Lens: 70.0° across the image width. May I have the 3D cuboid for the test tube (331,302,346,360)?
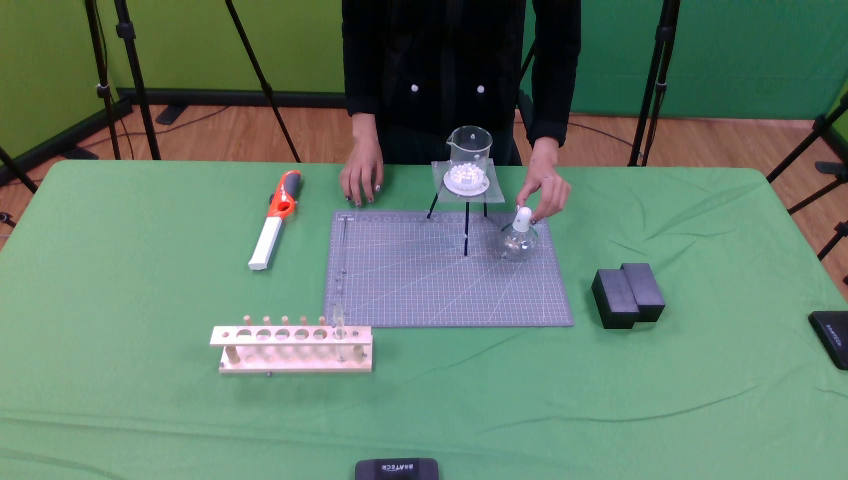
[{"bbox_3d":[-0.132,0.144,0.938,0.017,0.151,0.017,2,49,-3],"label":"test tube"}]

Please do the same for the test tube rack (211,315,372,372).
[{"bbox_3d":[-0.208,0.163,0.982,0.242,0.085,0.066,1,46,-4],"label":"test tube rack"}]

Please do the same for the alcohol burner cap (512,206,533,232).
[{"bbox_3d":[0.186,-0.042,1.134,0.034,0.048,0.033,7,42,-6],"label":"alcohol burner cap"}]

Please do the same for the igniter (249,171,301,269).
[{"bbox_3d":[-0.297,-0.049,1.220,0.057,0.025,0.275,-1,45,9],"label":"igniter"}]

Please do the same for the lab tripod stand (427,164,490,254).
[{"bbox_3d":[0.078,-0.068,1.188,0.148,0.132,0.147,3,47,-3],"label":"lab tripod stand"}]

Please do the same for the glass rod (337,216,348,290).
[{"bbox_3d":[-0.158,0.021,1.171,0.008,0.008,0.198,1,43,-2],"label":"glass rod"}]

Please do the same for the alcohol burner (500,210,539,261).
[{"bbox_3d":[0.185,-0.016,1.160,0.078,0.120,0.077,2,48,-2],"label":"alcohol burner"}]

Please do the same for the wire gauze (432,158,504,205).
[{"bbox_3d":[0.081,-0.111,1.138,0.125,0.011,0.120,0,48,-7],"label":"wire gauze"}]

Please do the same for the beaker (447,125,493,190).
[{"bbox_3d":[0.079,-0.148,1.106,0.084,0.101,0.073,-3,47,-7],"label":"beaker"}]
